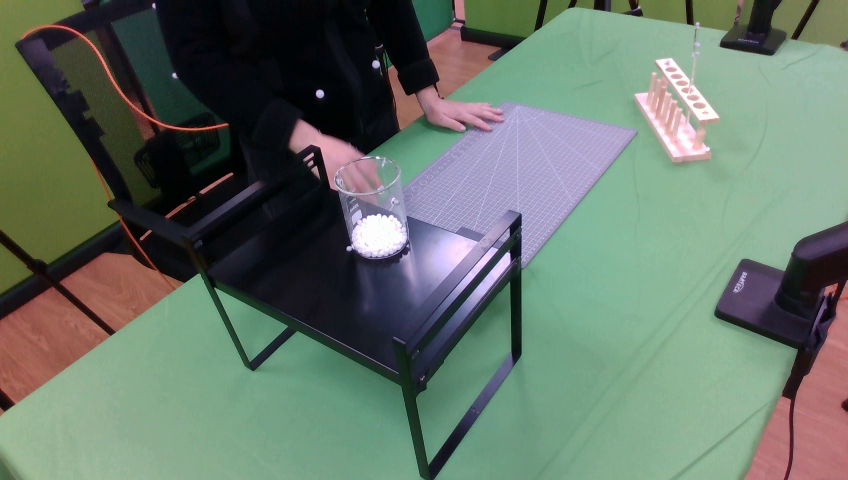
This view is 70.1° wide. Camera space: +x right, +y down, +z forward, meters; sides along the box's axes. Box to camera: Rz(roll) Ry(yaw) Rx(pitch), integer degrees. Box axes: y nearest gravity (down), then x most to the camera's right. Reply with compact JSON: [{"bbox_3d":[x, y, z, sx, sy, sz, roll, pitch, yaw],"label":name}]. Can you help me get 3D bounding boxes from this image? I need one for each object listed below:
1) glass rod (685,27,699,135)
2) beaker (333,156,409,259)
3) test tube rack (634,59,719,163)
[{"bbox_3d":[0.478,-0.279,1.078,0.008,0.200,0.008,-7,34,5],"label":"glass rod"},{"bbox_3d":[-0.055,-0.036,0.688,0.073,0.101,0.084,11,43,20],"label":"beaker"},{"bbox_3d":[0.470,-0.250,1.148,0.067,0.085,0.241,-6,40,3],"label":"test tube rack"}]
